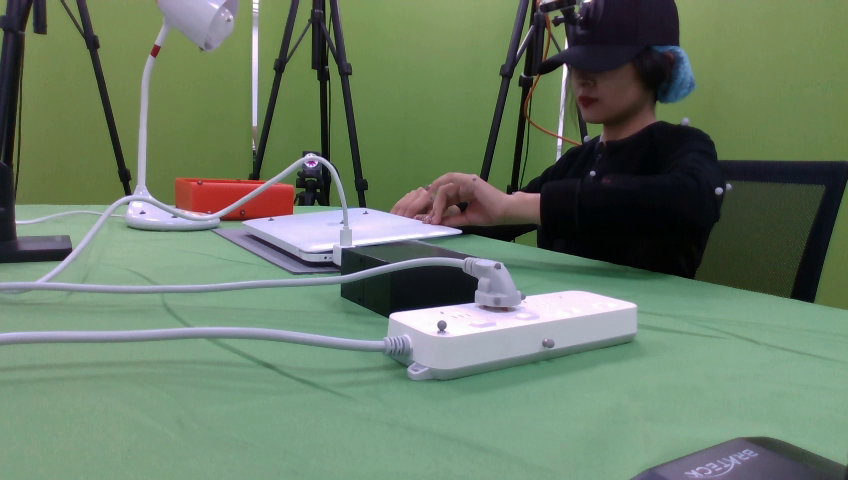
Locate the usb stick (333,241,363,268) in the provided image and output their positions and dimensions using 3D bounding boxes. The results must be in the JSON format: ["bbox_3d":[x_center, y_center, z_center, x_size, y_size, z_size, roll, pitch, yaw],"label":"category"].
[{"bbox_3d":[-0.097,0.017,0.743,0.021,0.027,0.059,-5,8,-31],"label":"usb stick"}]

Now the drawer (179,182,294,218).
[{"bbox_3d":[-0.420,-0.091,1.354,0.213,0.073,0.193,-3,10,-31],"label":"drawer"}]

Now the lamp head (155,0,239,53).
[{"bbox_3d":[-0.406,-0.402,1.059,0.123,0.112,0.112,25,5,-6],"label":"lamp head"}]

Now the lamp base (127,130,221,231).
[{"bbox_3d":[-0.469,-0.112,1.108,0.179,0.180,0.160,0,7,3],"label":"lamp base"}]

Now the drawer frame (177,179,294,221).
[{"bbox_3d":[-0.422,-0.092,1.352,0.215,0.082,0.200,-3,10,-32],"label":"drawer frame"}]

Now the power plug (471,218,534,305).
[{"bbox_3d":[0.055,0.014,0.454,0.035,0.072,0.052,-22,-2,-40],"label":"power plug"}]

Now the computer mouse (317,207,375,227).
[{"bbox_3d":[-0.163,-0.048,1.264,0.118,0.041,0.062,-6,12,-28],"label":"computer mouse"}]

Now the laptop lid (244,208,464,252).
[{"bbox_3d":[-0.126,-0.024,0.943,0.243,0.013,0.355,-7,11,-27],"label":"laptop lid"}]

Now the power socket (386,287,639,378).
[{"bbox_3d":[0.074,0.064,0.461,0.228,0.032,0.072,-4,8,-34],"label":"power socket"}]

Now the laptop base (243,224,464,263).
[{"bbox_3d":[-0.127,0.003,0.947,0.237,0.023,0.352,1,7,-30],"label":"laptop base"}]
